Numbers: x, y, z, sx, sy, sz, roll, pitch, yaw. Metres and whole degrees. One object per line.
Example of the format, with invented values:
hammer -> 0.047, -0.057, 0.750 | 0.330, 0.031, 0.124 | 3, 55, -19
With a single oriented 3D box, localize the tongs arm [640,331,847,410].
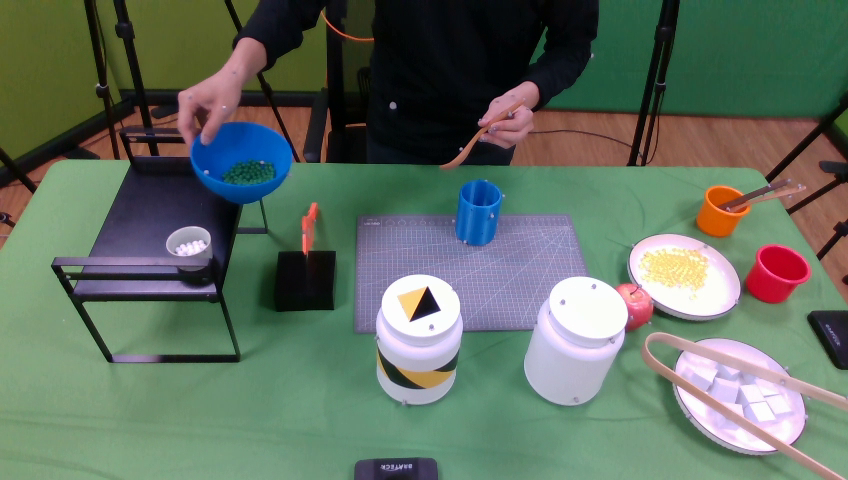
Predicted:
tongs arm -> 0.543, 0.226, 0.969 | 0.384, 0.026, 0.050 | 22, 52, 13

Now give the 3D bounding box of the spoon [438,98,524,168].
spoon -> 0.092, -0.176, 1.014 | 0.021, 0.194, 0.041 | 53, 35, 6

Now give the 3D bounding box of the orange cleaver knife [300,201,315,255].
orange cleaver knife -> -0.222, -0.027, 1.161 | 0.012, 0.077, 0.210 | -2, 15, -4

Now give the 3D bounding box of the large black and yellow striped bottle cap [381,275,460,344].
large black and yellow striped bottle cap -> -0.005, 0.099, 0.875 | 0.115, 0.019, 0.114 | 2, 45, -2

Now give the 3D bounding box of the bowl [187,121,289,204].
bowl -> -0.293, -0.111, 0.962 | 0.151, 0.077, 0.150 | 8, 49, -9

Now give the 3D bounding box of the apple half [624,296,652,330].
apple half -> 0.368, 0.135, 1.060 | 0.081, 0.081, 0.032 | -11, 43, -15

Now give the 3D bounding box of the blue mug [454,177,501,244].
blue mug -> 0.106, -0.067, 1.208 | 0.082, 0.106, 0.116 | 6, 46, 1

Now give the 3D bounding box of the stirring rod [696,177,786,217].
stirring rod -> 0.648, -0.087, 1.244 | 0.176, 0.006, 0.014 | -25, 50, 29

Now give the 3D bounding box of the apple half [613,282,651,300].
apple half -> 0.356, 0.109, 1.086 | 0.081, 0.075, 0.053 | -13, 44, -12

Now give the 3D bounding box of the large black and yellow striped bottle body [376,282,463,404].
large black and yellow striped bottle body -> -0.010, 0.155, 0.937 | 0.131, 0.185, 0.130 | 2, 47, -2

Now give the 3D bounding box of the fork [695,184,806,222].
fork -> 0.658, -0.074, 1.230 | 0.207, 0.019, 0.028 | -24, 34, 36

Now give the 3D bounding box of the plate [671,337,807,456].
plate -> 0.504, 0.254, 0.984 | 0.208, 0.039, 0.206 | 2, 46, -2

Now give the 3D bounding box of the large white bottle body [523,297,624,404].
large white bottle body -> 0.235, 0.159, 0.952 | 0.131, 0.185, 0.130 | 2, 47, -2

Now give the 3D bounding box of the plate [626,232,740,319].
plate -> 0.488, 0.070, 1.157 | 0.209, 0.038, 0.208 | 3, 46, -3

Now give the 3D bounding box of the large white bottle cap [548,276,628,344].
large white bottle cap -> 0.240, 0.100, 0.890 | 0.115, 0.018, 0.114 | 3, 47, -3

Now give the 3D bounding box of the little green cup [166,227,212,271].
little green cup -> -0.344, 0.014, 0.895 | 0.061, 0.039, 0.061 | 3, 46, -3

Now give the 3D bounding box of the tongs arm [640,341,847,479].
tongs arm -> 0.500, 0.278, 0.919 | 0.386, 0.028, 0.028 | 34, 59, 22
